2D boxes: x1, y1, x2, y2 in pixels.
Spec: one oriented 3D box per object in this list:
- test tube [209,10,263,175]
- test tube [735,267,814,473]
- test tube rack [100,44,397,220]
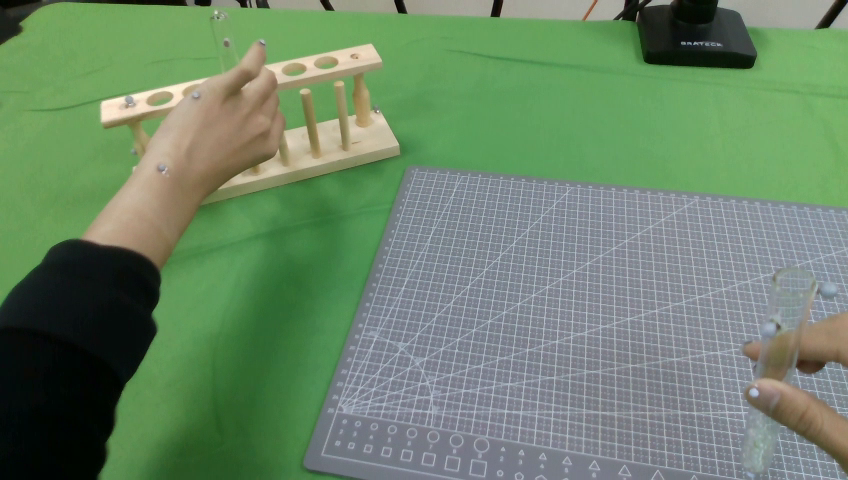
[{"bbox_3d":[-0.156,-0.118,0.509,0.017,0.152,0.017,0,43,0],"label":"test tube"},{"bbox_3d":[0.161,0.069,0.285,0.017,0.152,0.017,-10,41,9],"label":"test tube"},{"bbox_3d":[-0.152,-0.101,0.554,0.243,0.086,0.066,-16,48,-12],"label":"test tube rack"}]
